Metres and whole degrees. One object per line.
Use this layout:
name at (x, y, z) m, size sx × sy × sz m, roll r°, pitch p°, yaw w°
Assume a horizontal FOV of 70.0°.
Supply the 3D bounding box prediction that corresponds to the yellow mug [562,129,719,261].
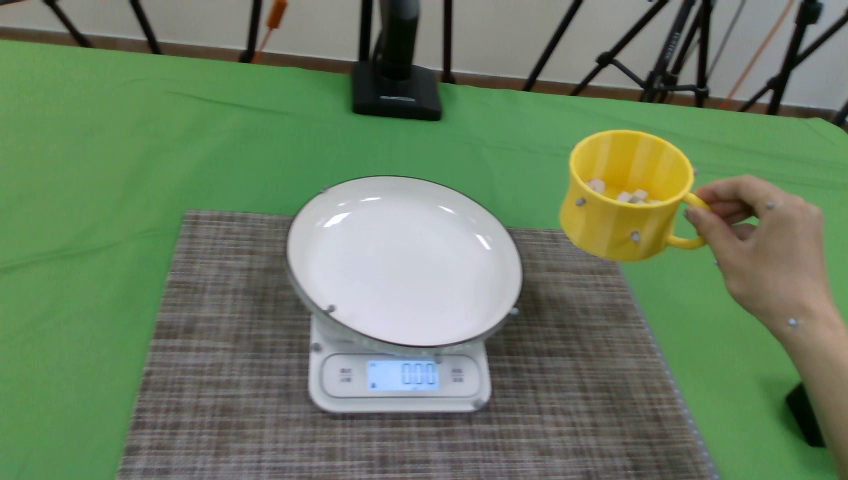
yellow mug at (0.186, -0.033, 0.517) m, size 0.130 × 0.064 × 0.100 m, roll 29°, pitch 55°, yaw 25°

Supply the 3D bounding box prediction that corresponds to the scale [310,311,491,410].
scale at (-0.022, 0.058, 0.543) m, size 0.149 × 0.032 × 0.198 m, roll 3°, pitch 45°, yaw -10°

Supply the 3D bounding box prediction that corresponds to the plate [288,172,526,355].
plate at (-0.015, 0.018, 0.538) m, size 0.209 × 0.038 × 0.207 m, roll 7°, pitch 44°, yaw -7°
